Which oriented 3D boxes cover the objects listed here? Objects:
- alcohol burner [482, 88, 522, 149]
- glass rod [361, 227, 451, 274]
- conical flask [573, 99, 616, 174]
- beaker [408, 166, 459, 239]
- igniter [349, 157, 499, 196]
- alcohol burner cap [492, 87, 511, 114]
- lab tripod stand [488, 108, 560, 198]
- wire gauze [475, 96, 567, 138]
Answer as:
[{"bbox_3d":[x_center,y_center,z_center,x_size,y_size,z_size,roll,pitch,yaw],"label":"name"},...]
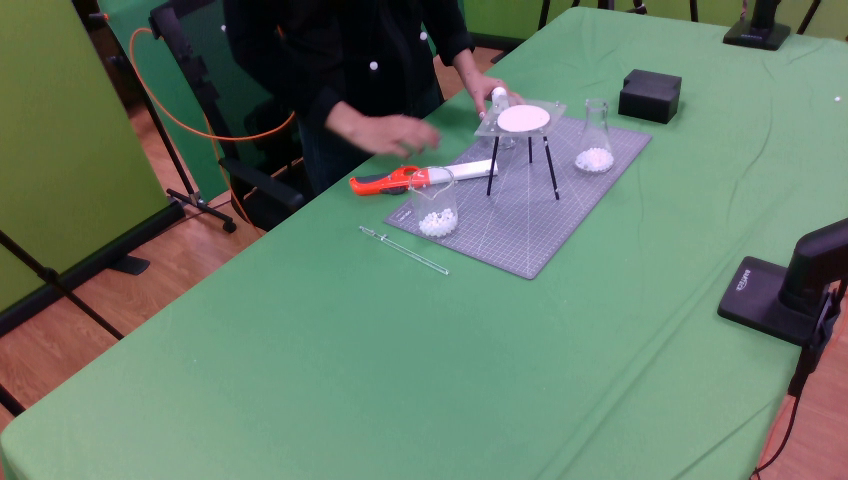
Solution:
[{"bbox_3d":[0.149,-0.237,1.160,0.078,0.119,0.077,-4,39,4],"label":"alcohol burner"},{"bbox_3d":[-0.033,0.015,0.985,0.198,0.008,0.008,26,52,34],"label":"glass rod"},{"bbox_3d":[0.302,-0.184,1.061,0.075,0.122,0.075,-5,40,5],"label":"conical flask"},{"bbox_3d":[0.018,-0.057,0.984,0.074,0.101,0.083,-6,41,5],"label":"beaker"},{"bbox_3d":[-0.002,-0.117,1.118,0.277,0.025,0.057,-9,56,2],"label":"igniter"},{"bbox_3d":[0.144,-0.264,1.136,0.034,0.048,0.033,-10,39,8],"label":"alcohol burner cap"},{"bbox_3d":[0.173,-0.150,1.037,0.148,0.132,0.147,-6,38,6],"label":"lab tripod stand"},{"bbox_3d":[0.161,-0.201,0.994,0.121,0.011,0.125,11,43,23],"label":"wire gauze"}]
